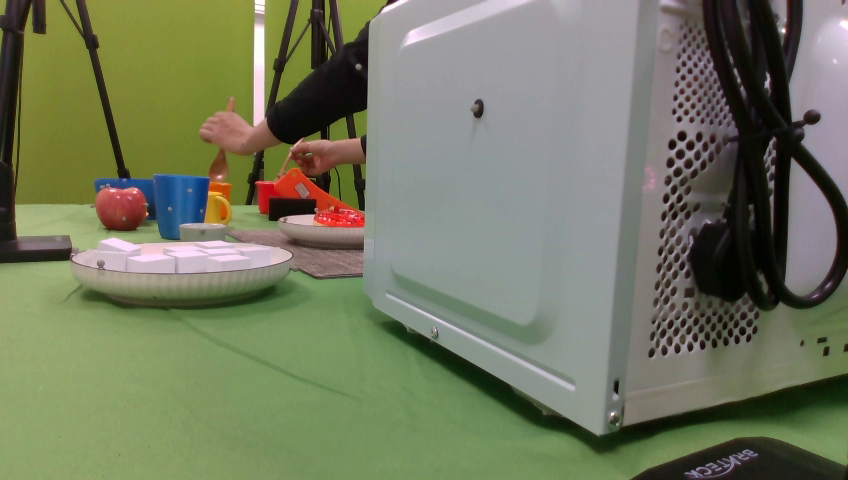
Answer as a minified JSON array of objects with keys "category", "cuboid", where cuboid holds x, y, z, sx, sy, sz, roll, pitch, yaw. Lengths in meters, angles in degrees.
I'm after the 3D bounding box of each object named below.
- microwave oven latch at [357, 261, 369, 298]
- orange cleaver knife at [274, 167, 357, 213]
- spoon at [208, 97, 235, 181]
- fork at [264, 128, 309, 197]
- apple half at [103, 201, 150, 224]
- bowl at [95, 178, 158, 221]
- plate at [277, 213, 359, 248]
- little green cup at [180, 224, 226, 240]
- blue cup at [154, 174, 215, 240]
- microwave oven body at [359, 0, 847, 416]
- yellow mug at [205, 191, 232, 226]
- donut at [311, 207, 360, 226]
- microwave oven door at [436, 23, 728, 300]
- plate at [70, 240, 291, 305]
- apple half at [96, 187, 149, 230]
[{"category":"microwave oven latch","cuboid":[-0.019,0.033,0.530,0.079,0.029,0.030,0,7,-25]},{"category":"orange cleaver knife","cuboid":[-0.238,-0.090,1.380,0.212,0.077,0.012,31,-3,-19]},{"category":"spoon","cuboid":[-0.419,-0.214,1.275,0.041,0.193,0.021,8,-10,-1]},{"category":"fork","cuboid":[-0.338,-0.193,1.498,0.028,0.207,0.019,18,-17,25]},{"category":"apple half","cuboid":[-0.548,-0.044,1.114,0.081,0.033,0.081,16,9,-2]},{"category":"bowl","cuboid":[-0.576,-0.081,1.217,0.151,0.077,0.151,3,8,0]},{"category":"plate","cuboid":[-0.135,-0.017,0.993,0.209,0.038,0.209,3,8,0]},{"category":"little green cup","cuboid":[-0.309,-0.001,0.846,0.061,0.038,0.061,2,8,0]},{"category":"blue cup","cuboid":[-0.391,-0.053,0.978,0.093,0.100,0.092,4,6,0]},{"category":"microwave oven body","cuboid":[0.211,-0.047,0.474,0.444,0.260,0.324,-1,7,-28]},{"category":"yellow mug","cuboid":[-0.415,-0.057,1.132,0.130,0.064,0.100,5,8,17]},{"category":"donut","cuboid":[-0.137,-0.029,0.995,0.099,0.048,0.099,4,9,0]},{"category":"microwave oven door","cuboid":[0.180,-0.072,0.621,0.358,0.243,0.039,-2,9,-29]},{"category":"plate","cuboid":[-0.242,0.032,0.618,0.208,0.039,0.207,2,8,0]},{"category":"apple half","cuboid":[-0.516,-0.052,1.036,0.081,0.074,0.053,3,11,-26]}]
